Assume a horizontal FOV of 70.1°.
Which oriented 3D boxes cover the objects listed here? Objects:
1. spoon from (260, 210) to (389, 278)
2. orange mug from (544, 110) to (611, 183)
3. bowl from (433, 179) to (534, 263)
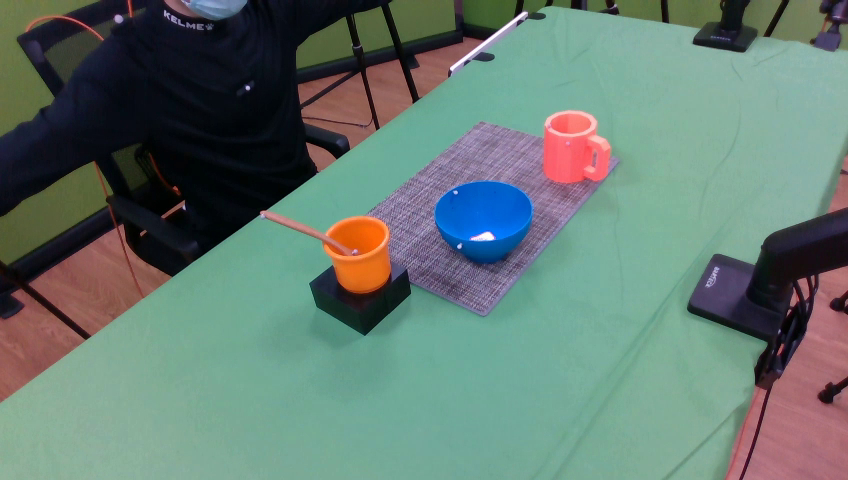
[{"bbox_3d":[-0.129,0.003,0.809,0.021,0.195,0.041,-41,33,31],"label":"spoon"},{"bbox_3d":[0.266,-0.157,1.049,0.084,0.101,0.125,-32,42,-26],"label":"orange mug"},{"bbox_3d":[0.093,-0.018,0.928,0.151,0.077,0.150,-4,41,4],"label":"bowl"}]
